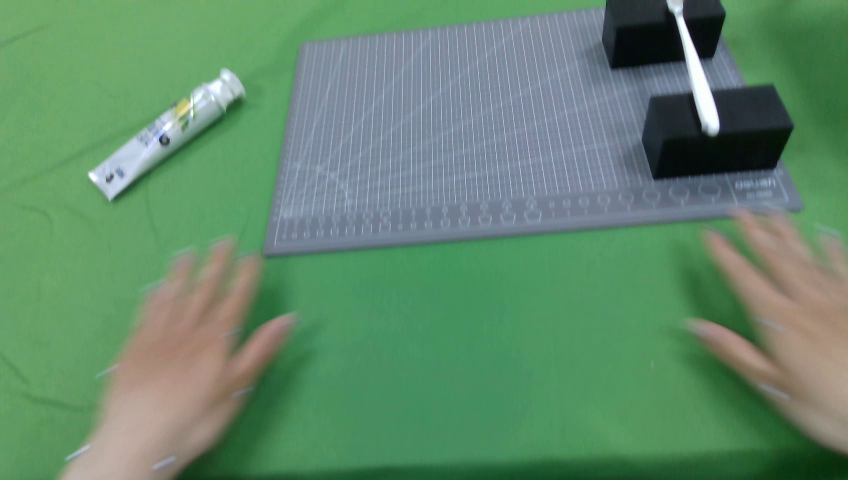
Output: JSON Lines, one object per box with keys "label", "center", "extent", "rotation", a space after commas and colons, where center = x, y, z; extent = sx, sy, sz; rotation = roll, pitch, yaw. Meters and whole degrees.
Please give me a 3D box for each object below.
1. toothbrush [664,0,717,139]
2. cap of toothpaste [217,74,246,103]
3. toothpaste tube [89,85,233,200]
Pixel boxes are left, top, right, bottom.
{"label": "toothbrush", "center": [0.229, -0.155, 0.521], "extent": [0.014, 0.017, 0.180], "rotation": [5, 55, -1]}
{"label": "cap of toothpaste", "center": [-0.206, -0.159, 0.643], "extent": [0.037, 0.038, 0.011], "rotation": [25, 59, 25]}
{"label": "toothpaste tube", "center": [-0.264, -0.106, 0.621], "extent": [0.165, 0.035, 0.054], "rotation": [-44, 52, -17]}
